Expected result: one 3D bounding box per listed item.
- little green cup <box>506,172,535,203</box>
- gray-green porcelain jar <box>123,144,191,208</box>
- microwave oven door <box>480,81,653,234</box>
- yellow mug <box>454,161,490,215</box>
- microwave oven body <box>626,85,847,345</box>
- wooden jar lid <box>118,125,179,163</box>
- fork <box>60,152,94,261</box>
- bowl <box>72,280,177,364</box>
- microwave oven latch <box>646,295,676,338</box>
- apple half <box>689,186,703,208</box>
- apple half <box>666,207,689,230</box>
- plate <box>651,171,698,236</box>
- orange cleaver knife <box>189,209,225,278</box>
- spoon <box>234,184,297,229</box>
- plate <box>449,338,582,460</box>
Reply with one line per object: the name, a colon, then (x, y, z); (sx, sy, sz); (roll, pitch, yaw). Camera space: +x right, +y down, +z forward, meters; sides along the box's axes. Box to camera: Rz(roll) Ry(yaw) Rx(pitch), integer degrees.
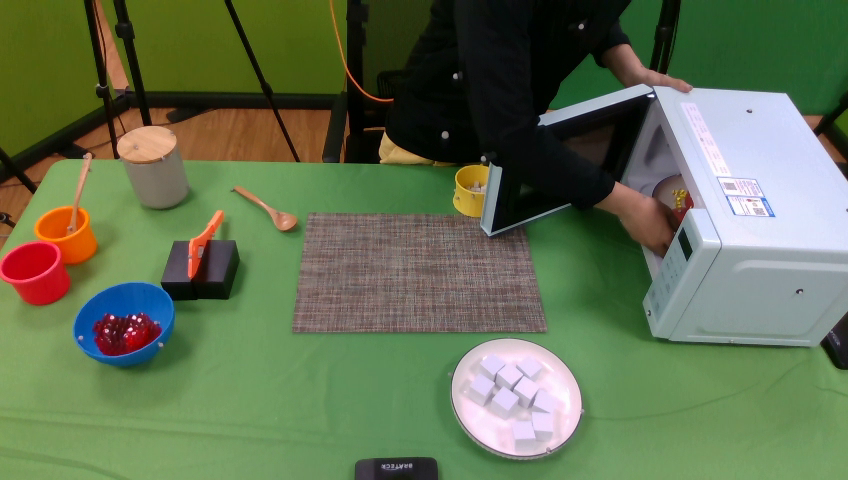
little green cup: (0.205, -0.111, 1.302); (0.061, 0.039, 0.061); (2, 47, -2)
gray-green porcelain jar: (-0.531, -0.137, 1.214); (0.106, 0.127, 0.105); (2, 47, -2)
microwave oven door: (0.281, -0.163, 1.192); (0.356, 0.245, 0.039); (-21, 51, -22)
yellow mug: (0.117, -0.119, 1.284); (0.100, 0.064, 0.130); (9, 44, 4)
microwave oven body: (0.568, -0.054, 1.116); (0.326, 0.261, 0.439); (2, 46, -1)
wooden jar lid: (-0.528, -0.181, 1.167); (0.108, 0.021, 0.107); (4, 48, -4)
fork: (-0.638, -0.063, 1.120); (0.028, 0.018, 0.207); (12, 90, 7)
bowl: (-0.473, 0.146, 0.982); (0.151, 0.077, 0.150); (2, 46, -2)
microwave oven latch: (0.413, 0.133, 1.060); (0.030, 0.029, 0.078); (4, 46, 1)
apple half: (0.567, -0.086, 1.193); (0.081, 0.053, 0.074); (6, 31, 11)
apple half: (0.506, -0.044, 1.165); (0.081, 0.033, 0.081); (3, 40, -3)
plate: (0.549, -0.054, 1.187); (0.209, 0.038, 0.208); (1, 46, -1)
orange cleaver knife: (-0.401, 0.002, 1.122); (0.012, 0.077, 0.210); (4, 23, -4)
spoon: (-0.327, -0.073, 1.240); (0.193, 0.022, 0.041); (34, 70, 25)
plate: (0.141, 0.251, 0.955); (0.208, 0.039, 0.206); (2, 46, -2)
